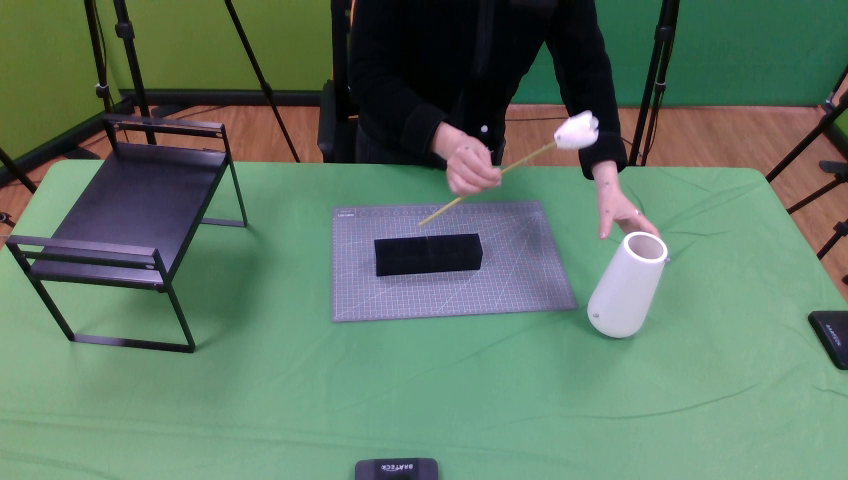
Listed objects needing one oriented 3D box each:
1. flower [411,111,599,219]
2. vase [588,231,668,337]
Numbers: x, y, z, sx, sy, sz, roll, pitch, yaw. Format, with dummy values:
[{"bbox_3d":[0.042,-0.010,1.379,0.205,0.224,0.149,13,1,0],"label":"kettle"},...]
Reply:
[{"bbox_3d":[0.108,-0.101,0.944,0.038,0.361,0.044,2,68,-49],"label":"flower"},{"bbox_3d":[0.343,0.079,1.022,0.098,0.201,0.097,1,47,-1],"label":"vase"}]
